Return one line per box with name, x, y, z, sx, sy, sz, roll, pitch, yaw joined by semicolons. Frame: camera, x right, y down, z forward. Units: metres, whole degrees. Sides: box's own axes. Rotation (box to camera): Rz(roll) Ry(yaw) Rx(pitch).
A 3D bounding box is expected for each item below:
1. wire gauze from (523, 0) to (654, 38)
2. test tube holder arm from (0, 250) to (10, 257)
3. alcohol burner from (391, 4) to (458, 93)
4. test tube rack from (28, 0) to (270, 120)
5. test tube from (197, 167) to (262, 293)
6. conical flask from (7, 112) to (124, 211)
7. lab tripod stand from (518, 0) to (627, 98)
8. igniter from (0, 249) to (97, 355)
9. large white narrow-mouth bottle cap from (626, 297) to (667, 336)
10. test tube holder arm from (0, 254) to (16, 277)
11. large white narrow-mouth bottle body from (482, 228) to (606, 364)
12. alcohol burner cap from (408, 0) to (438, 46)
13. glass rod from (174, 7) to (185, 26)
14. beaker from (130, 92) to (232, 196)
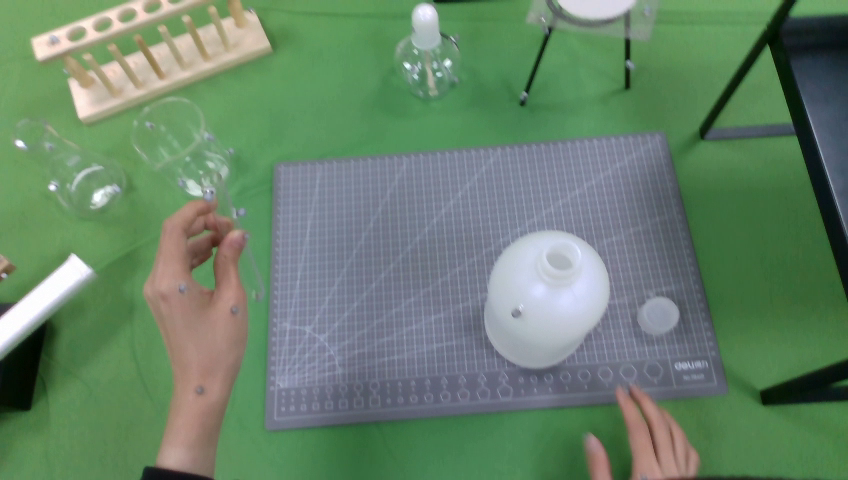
wire gauze;0.174;-0.262;0.611;0.121;0.011;0.124;16;71;7
test tube holder arm;-0.478;0.078;0.586;0.013;0.015;0.178;38;74;15
alcohol burner;0.000;-0.223;0.686;0.078;0.120;0.077;0;67;1
test tube rack;-0.318;-0.236;0.719;0.242;0.086;0.066;-24;69;-7
test tube;-0.147;-0.002;0.468;0.017;0.151;0.017;1;55;-1
conical flask;-0.383;-0.087;0.643;0.075;0.123;0.075;-1;68;3
lab tripod stand;0.169;-0.234;0.673;0.148;0.132;0.147;0;67;1
igniter;-0.430;0.115;0.566;0.057;0.025;0.276;38;71;14
large white narrow-mouth bottle cap;0.223;0.077;0.607;0.038;0.024;0.037;-1;70;2
test tube holder arm;-0.444;0.049;0.596;0.010;0.015;0.087;39;74;16
large white narrow-mouth bottle body;0.105;0.045;0.531;0.102;0.196;0.101;-1;70;3
alcohol burner cap;-0.003;-0.237;0.653;0.034;0.048;0.033;-1;67;2
glass rod;-0.300;-0.296;0.670;0.008;0.201;0.008;-4;62;8
beaker;-0.258;-0.096;0.654;0.074;0.101;0.083;10;69;7
